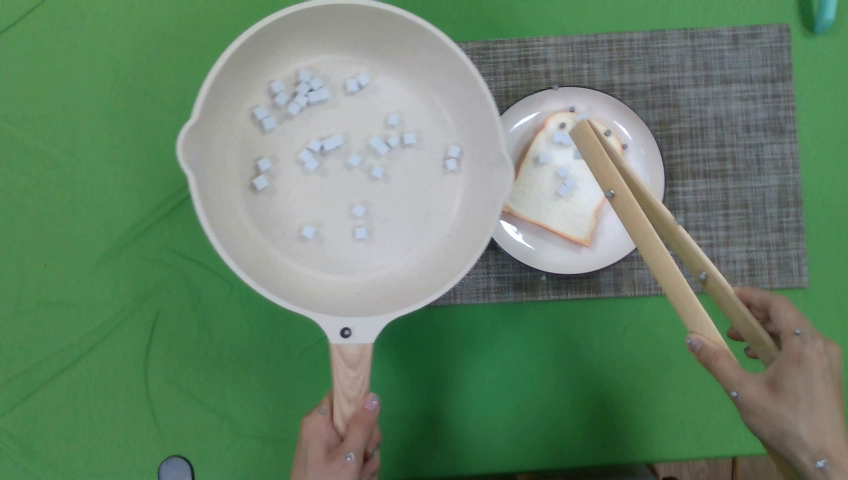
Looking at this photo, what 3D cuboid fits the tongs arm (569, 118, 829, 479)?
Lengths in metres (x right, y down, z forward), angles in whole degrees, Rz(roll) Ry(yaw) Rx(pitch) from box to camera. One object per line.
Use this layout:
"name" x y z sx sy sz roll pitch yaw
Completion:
"tongs arm" 0.235 0.059 0.503 0.028 0.028 0.386 -26 79 -30

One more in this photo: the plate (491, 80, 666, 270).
"plate" 0.156 -0.070 0.667 0.207 0.039 0.207 0 88 2

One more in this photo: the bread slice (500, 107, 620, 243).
"bread slice" 0.153 -0.077 0.670 0.107 0.018 0.134 20 90 1

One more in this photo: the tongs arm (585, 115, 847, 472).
"tongs arm" 0.243 0.055 0.508 0.051 0.026 0.384 -36 83 -28

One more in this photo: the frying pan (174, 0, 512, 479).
"frying pan" -0.068 0.032 0.562 0.308 0.102 0.486 3 82 -17

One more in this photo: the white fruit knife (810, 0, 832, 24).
"white fruit knife" 0.436 -0.344 0.653 0.016 0.027 0.208 -3 102 1
